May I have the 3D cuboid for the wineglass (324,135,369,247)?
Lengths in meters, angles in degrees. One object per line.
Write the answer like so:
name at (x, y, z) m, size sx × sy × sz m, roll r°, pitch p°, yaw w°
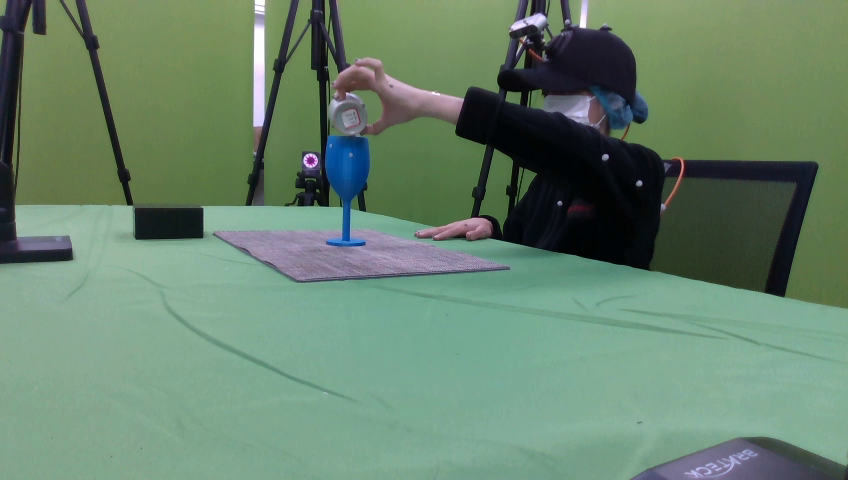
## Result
wineglass at (-0.124, -0.078, 0.964) m, size 0.074 × 0.172 × 0.073 m, roll 3°, pitch 8°, yaw 0°

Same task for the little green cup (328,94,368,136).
little green cup at (-0.114, -0.187, 0.913) m, size 0.062 × 0.061 × 0.038 m, roll 1°, pitch 23°, yaw -14°
